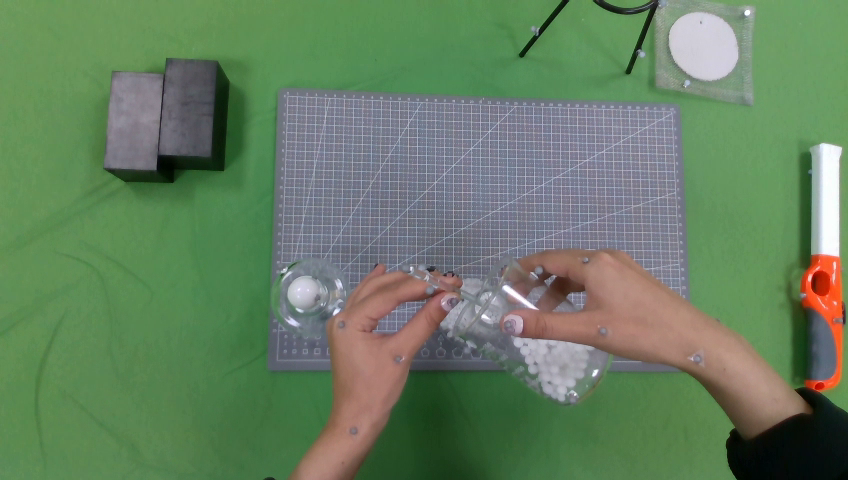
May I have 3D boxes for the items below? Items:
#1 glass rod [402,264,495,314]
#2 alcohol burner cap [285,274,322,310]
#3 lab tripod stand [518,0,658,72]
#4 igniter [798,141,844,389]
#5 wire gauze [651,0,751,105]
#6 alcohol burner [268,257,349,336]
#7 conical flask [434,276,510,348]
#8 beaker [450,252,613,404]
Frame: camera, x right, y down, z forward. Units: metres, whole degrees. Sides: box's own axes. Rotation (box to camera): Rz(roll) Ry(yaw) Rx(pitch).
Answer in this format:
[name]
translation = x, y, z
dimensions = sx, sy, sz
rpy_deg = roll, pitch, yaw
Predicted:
[glass rod]
translation = 0.026, 0.041, 0.469
dimensions = 0.008, 0.201, 0.008
rpy_deg = -6, 74, 21
[alcohol burner cap]
translation = -0.108, 0.046, 0.538
dimensions = 0.034, 0.048, 0.034
rpy_deg = 1, 85, -8
[lab tripod stand]
translation = 0.179, -0.245, 0.634
dimensions = 0.148, 0.131, 0.148
rpy_deg = 1, 84, -4
[igniter]
translation = 0.442, 0.026, 0.674
dimensions = 0.057, 0.025, 0.275
rpy_deg = 8, 82, -15
[wire gauze]
translation = 0.324, -0.225, 0.707
dimensions = 0.125, 0.011, 0.121
rpy_deg = 7, 82, -6
[alcohol burner]
translation = -0.111, 0.052, 0.574
dimensions = 0.078, 0.119, 0.077
rpy_deg = 0, 81, -3
[conical flask]
translation = 0.052, 0.067, 0.583
dimensions = 0.075, 0.122, 0.075
rpy_deg = 1, 81, -5
[beaker]
translation = 0.080, 0.068, 0.450
dimensions = 0.100, 0.084, 0.074
rpy_deg = 36, 84, -3
